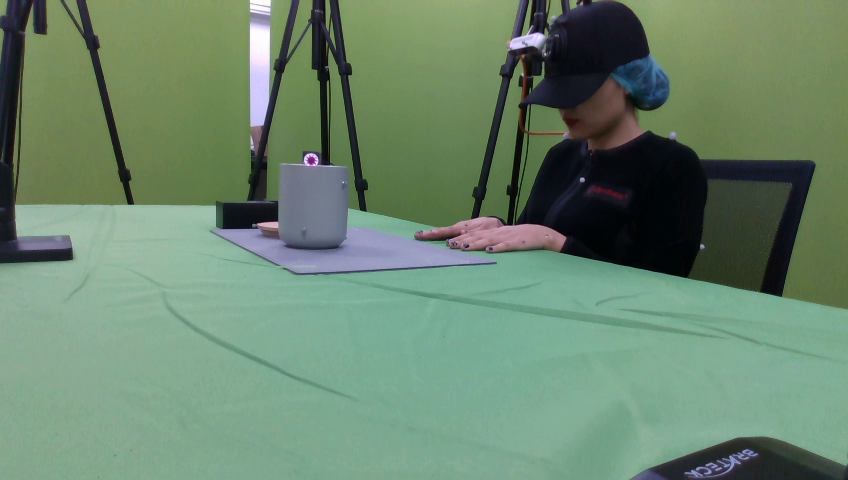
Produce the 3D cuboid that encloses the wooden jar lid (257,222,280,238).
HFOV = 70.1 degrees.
[{"bbox_3d":[-0.234,-0.017,1.053,0.108,0.020,0.108,2,9,0],"label":"wooden jar lid"}]

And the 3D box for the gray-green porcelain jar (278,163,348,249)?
[{"bbox_3d":[-0.171,-0.053,0.934,0.106,0.126,0.106,2,7,0],"label":"gray-green porcelain jar"}]
